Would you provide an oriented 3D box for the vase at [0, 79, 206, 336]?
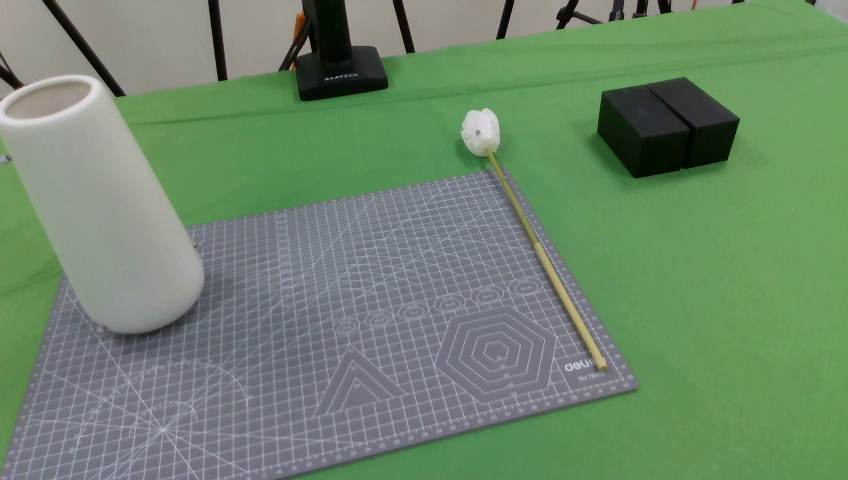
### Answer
[{"bbox_3d":[-0.241,-0.018,0.469,0.098,0.202,0.097,-2,40,2],"label":"vase"}]

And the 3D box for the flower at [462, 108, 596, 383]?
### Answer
[{"bbox_3d":[0.094,-0.017,0.580,0.044,0.038,0.357,-33,43,18],"label":"flower"}]
